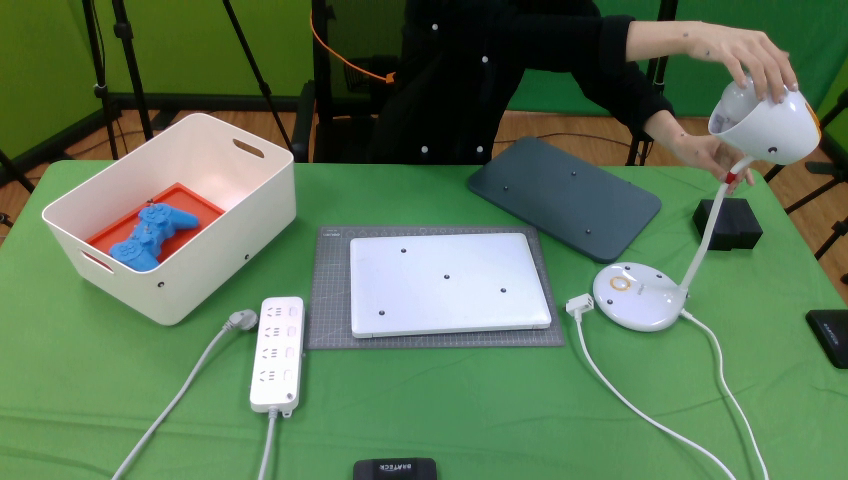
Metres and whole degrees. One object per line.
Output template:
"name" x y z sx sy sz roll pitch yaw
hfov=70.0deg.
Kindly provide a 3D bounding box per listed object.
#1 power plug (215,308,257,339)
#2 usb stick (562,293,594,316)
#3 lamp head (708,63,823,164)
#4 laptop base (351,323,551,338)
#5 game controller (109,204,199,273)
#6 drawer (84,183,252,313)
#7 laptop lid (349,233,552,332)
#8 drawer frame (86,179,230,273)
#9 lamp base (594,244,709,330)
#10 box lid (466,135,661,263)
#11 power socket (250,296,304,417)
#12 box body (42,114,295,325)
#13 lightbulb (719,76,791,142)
"power plug" -0.317 0.143 1.024 0.072 0.053 0.035 -33 58 -8
"usb stick" 0.274 0.118 1.087 0.021 0.059 0.027 38 45 -27
"lamp head" 0.463 -0.154 0.812 0.123 0.112 0.112 36 47 -12
"laptop base" 0.040 0.080 1.126 0.355 0.023 0.234 -2 43 -6
"game controller" -0.467 -0.005 1.044 0.097 0.052 0.154 8 45 10
"drawer" -0.457 0.008 1.099 0.194 0.073 0.211 29 49 21
"laptop lid" 0.040 0.070 1.119 0.357 0.013 0.240 -1 44 -5
"drawer frame" -0.453 0.010 1.100 0.201 0.083 0.213 28 54 23
"lamp base" 0.412 0.052 1.070 0.179 0.181 0.160 18 48 9
"box lid" 0.306 -0.102 1.327 0.370 0.015 0.263 32 52 25
"power socket" -0.239 0.182 0.996 0.072 0.033 0.225 -2 47 -5
"box body" -0.437 -0.046 1.110 0.253 0.161 0.363 24 49 19
"lightbulb" 0.434 -0.168 0.790 0.059 0.060 0.107 -24 64 -24
